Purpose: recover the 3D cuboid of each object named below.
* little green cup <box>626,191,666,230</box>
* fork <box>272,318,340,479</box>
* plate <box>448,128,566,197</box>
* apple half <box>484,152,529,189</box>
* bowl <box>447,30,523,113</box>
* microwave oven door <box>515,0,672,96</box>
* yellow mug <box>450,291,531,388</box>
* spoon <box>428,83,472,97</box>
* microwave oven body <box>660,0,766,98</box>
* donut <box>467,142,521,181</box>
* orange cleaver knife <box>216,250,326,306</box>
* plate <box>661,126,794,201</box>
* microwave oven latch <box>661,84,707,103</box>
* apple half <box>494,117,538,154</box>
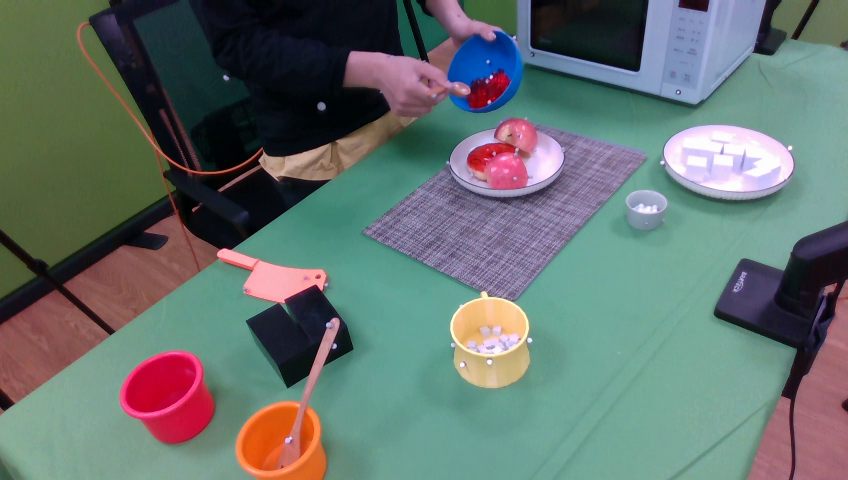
[{"bbox_3d":[0.352,-0.046,0.963,0.061,0.039,0.061,-4,40,4],"label":"little green cup"},{"bbox_3d":[-0.131,0.186,0.676,0.028,0.019,0.207,17,90,28],"label":"fork"},{"bbox_3d":[0.150,-0.138,1.097,0.209,0.038,0.208,-4,40,4],"label":"plate"},{"bbox_3d":[0.144,-0.116,1.032,0.081,0.033,0.081,3,77,-11],"label":"apple half"},{"bbox_3d":[0.125,-0.295,1.105,0.150,0.151,0.077,33,11,37],"label":"bowl"},{"bbox_3d":[0.344,-0.455,1.259,0.353,0.245,0.039,26,51,33],"label":"microwave oven door"},{"bbox_3d":[0.085,0.120,0.786,0.100,0.064,0.130,-7,39,1],"label":"yellow mug"},{"bbox_3d":[0.040,-0.247,0.985,0.041,0.021,0.194,28,19,11],"label":"spoon"},{"bbox_3d":[0.472,-0.513,1.317,0.438,0.261,0.327,26,51,34],"label":"microwave oven body"},{"bbox_3d":[0.127,-0.144,1.091,0.099,0.048,0.098,-6,37,5],"label":"donut"},{"bbox_3d":[-0.248,0.058,0.945,0.210,0.012,0.077,13,49,20],"label":"orange cleaver knife"},{"bbox_3d":[0.513,-0.128,1.035,0.207,0.039,0.206,-4,40,4],"label":"plate"},{"bbox_3d":[0.517,-0.296,1.204,0.078,0.029,0.030,27,52,35],"label":"microwave oven latch"},{"bbox_3d":[0.176,-0.197,1.114,0.080,0.053,0.075,29,12,34],"label":"apple half"}]
